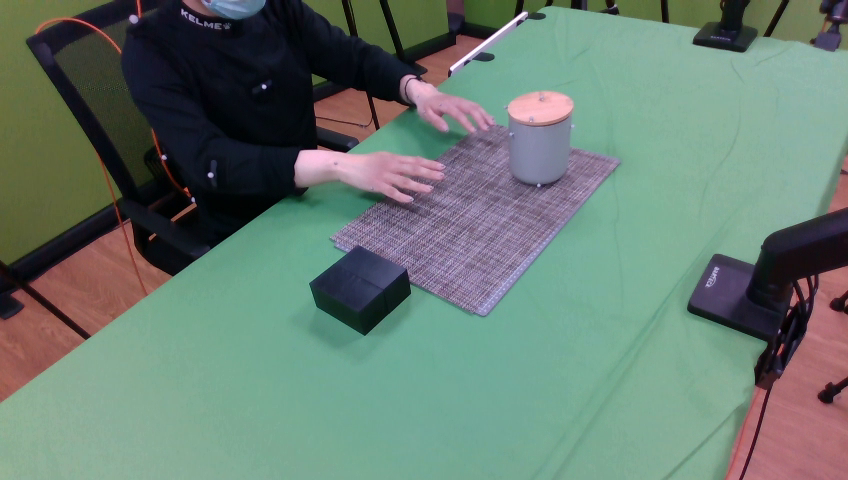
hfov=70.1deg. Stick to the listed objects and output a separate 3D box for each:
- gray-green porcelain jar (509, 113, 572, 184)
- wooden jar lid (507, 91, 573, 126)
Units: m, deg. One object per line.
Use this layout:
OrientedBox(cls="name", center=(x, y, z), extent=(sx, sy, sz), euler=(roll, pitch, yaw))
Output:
OrientedBox(cls="gray-green porcelain jar", center=(0.200, -0.169, 1.051), extent=(0.106, 0.127, 0.105), euler=(-4, 41, 4))
OrientedBox(cls="wooden jar lid", center=(0.194, -0.216, 1.010), extent=(0.108, 0.021, 0.108), euler=(-6, 40, 6))
